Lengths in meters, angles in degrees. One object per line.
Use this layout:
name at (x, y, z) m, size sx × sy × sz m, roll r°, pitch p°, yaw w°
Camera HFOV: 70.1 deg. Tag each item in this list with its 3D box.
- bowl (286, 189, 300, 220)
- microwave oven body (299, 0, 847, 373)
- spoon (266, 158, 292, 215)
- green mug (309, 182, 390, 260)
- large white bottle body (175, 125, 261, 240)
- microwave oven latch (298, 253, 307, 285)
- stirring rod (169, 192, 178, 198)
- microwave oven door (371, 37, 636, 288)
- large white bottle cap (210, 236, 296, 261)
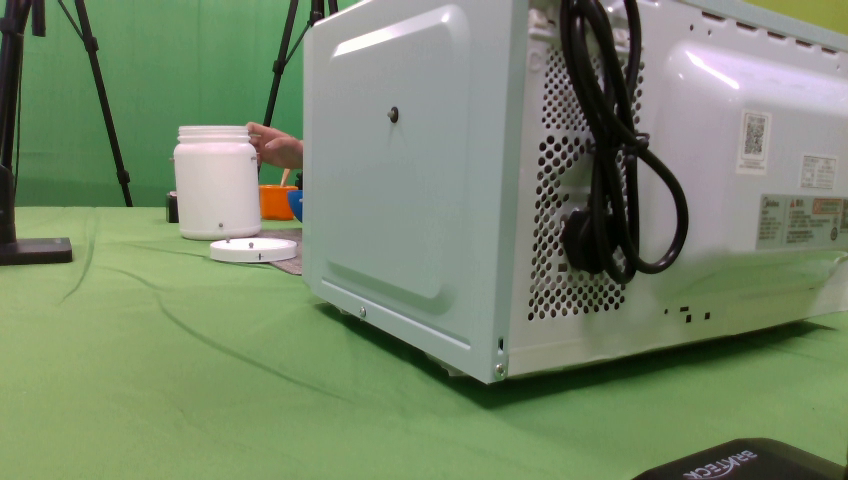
bowl at (-0.179, -0.051, 1.114) m, size 0.151 × 0.077 × 0.151 m, roll 3°, pitch 8°, yaw 0°
microwave oven body at (0.151, -0.055, 0.542) m, size 0.444 × 0.260 × 0.324 m, roll -2°, pitch 7°, yaw -33°
spoon at (-0.334, -0.128, 1.423) m, size 0.041 × 0.193 × 0.022 m, roll 0°, pitch -37°, yaw 7°
green mug at (-0.102, -0.029, 0.864) m, size 0.126 × 0.105 × 0.092 m, roll -3°, pitch 8°, yaw -40°
large white bottle body at (-0.349, -0.100, 1.025) m, size 0.131 × 0.184 × 0.130 m, roll -1°, pitch 9°, yaw 1°
microwave oven latch at (-0.081, 0.027, 0.582) m, size 0.079 × 0.029 × 0.030 m, roll -1°, pitch 7°, yaw -32°
stirring rod at (-0.465, -0.098, 1.283) m, size 0.014 × 0.006 × 0.177 m, roll 42°, pitch 22°, yaw 17°
microwave oven door at (0.109, -0.080, 0.687) m, size 0.358 × 0.243 × 0.039 m, roll -2°, pitch 9°, yaw -33°
large white bottle cap at (-0.236, 0.011, 0.839) m, size 0.115 × 0.018 × 0.115 m, roll -1°, pitch 10°, yaw 0°
